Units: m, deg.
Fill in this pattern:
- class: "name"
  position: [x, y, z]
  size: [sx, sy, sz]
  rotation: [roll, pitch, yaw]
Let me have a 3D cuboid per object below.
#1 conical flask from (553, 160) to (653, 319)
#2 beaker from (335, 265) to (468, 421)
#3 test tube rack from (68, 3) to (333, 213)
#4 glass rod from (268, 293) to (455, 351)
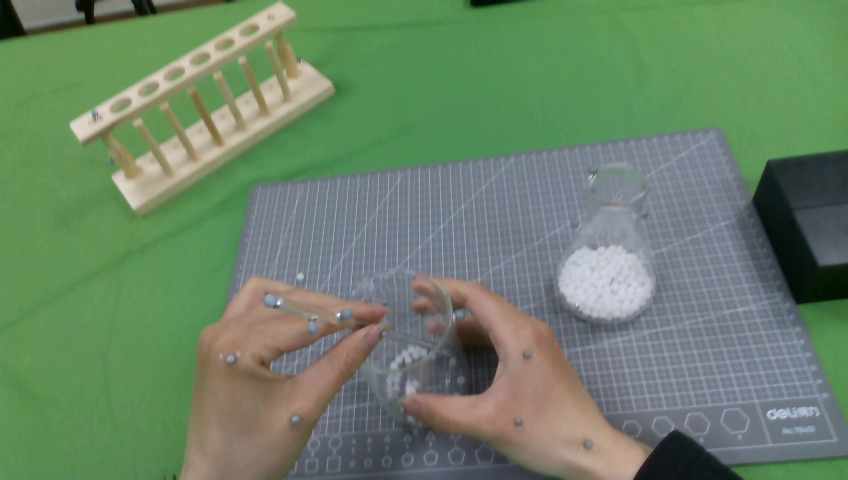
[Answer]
- class: "conical flask"
  position: [0.130, -0.002, 0.431]
  size: [0.075, 0.123, 0.074]
  rotation: [-5, 53, 7]
- class: "beaker"
  position: [-0.012, 0.073, 0.416]
  size: [0.074, 0.101, 0.083]
  rotation: [-33, 53, -11]
- class: "test tube rack"
  position: [-0.220, -0.139, 0.626]
  size: [0.242, 0.086, 0.066]
  rotation: [-37, 56, -16]
- class: "glass rod"
  position: [-0.025, 0.055, 0.374]
  size: [0.008, 0.201, 0.008]
  rotation: [-9, 70, 27]
